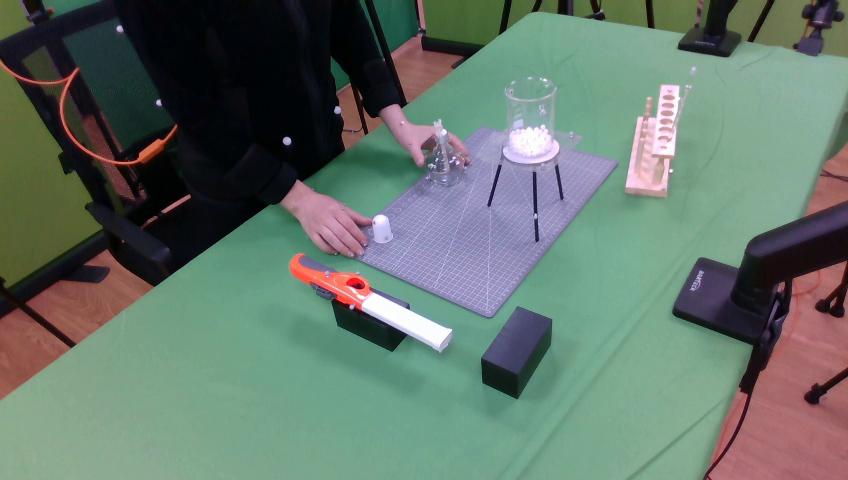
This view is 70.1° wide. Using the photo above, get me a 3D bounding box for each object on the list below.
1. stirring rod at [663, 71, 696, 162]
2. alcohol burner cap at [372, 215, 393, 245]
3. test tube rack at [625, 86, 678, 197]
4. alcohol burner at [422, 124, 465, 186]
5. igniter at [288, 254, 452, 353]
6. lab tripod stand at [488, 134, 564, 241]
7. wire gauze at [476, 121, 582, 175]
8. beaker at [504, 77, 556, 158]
[{"bbox_3d":[0.410,-0.195,0.981,0.014,0.177,0.006,11,50,13],"label":"stirring rod"},{"bbox_3d":[-0.070,-0.019,0.990,0.034,0.048,0.033,-4,41,4],"label":"alcohol burner cap"},{"bbox_3d":[0.412,-0.184,1.088,0.066,0.085,0.242,9,43,18],"label":"test tube rack"},{"bbox_3d":[0.034,-0.157,1.082,0.078,0.119,0.077,-5,42,5],"label":"alcohol burner"},{"bbox_3d":[-0.084,0.079,0.818,0.274,0.025,0.057,23,46,27],"label":"igniter"},{"bbox_3d":[0.168,-0.092,0.972,0.148,0.132,0.147,-5,41,5],"label":"lab tripod stand"},{"bbox_3d":[0.162,-0.142,0.929,0.120,0.011,0.125,19,49,32],"label":"wire gauze"},{"bbox_3d":[0.160,-0.181,0.900,0.084,0.101,0.073,-32,46,-27],"label":"beaker"}]
